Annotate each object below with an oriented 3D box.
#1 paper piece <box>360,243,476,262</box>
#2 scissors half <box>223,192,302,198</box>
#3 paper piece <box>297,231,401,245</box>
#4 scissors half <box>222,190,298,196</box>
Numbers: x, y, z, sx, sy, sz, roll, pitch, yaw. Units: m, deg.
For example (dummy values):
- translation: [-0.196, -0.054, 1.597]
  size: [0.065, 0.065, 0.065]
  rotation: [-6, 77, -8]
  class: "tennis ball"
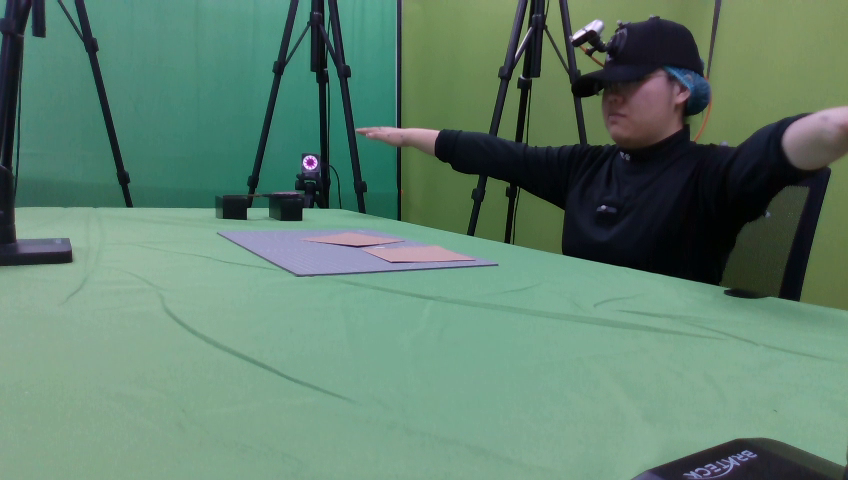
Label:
- translation: [-0.012, 0.020, 0.914]
  size: [0.136, 0.008, 0.137]
  rotation: [-4, 10, -24]
  class: "paper piece"
- translation: [-0.362, -0.100, 1.364]
  size: [0.176, 0.013, 0.040]
  rotation: [-2, 10, -23]
  class: "scissors half"
- translation: [-0.127, -0.003, 1.052]
  size: [0.135, 0.004, 0.136]
  rotation: [7, 8, 32]
  class: "paper piece"
- translation: [-0.372, -0.105, 1.380]
  size: [0.176, 0.013, 0.040]
  rotation: [-6, 18, -38]
  class: "scissors half"
